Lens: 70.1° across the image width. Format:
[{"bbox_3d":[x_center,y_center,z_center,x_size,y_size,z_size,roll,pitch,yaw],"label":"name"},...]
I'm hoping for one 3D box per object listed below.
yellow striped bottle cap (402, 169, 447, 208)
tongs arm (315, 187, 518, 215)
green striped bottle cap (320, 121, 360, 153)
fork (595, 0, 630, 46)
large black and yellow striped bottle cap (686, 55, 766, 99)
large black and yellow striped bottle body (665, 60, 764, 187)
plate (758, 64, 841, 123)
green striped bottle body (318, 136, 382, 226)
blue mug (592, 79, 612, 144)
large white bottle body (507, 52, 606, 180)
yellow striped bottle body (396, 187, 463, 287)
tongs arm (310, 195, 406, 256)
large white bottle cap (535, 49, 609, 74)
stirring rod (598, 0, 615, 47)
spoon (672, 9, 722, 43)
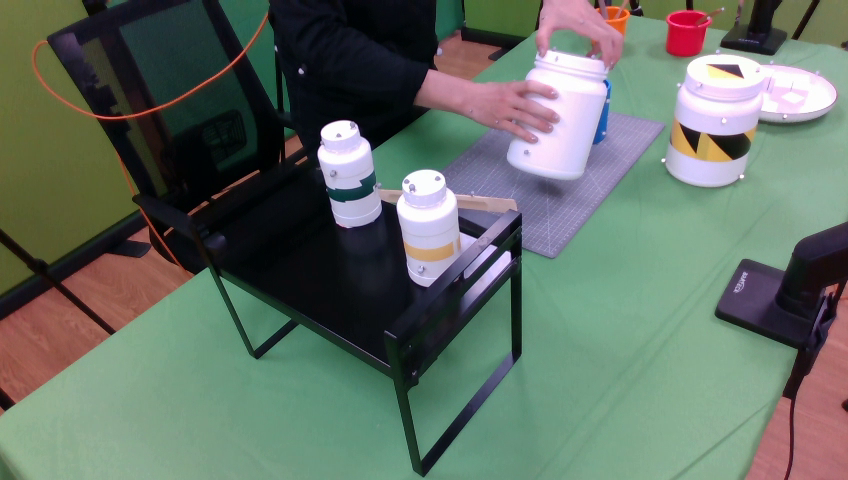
[{"bbox_3d":[0.000,-0.052,0.604,0.044,0.019,0.044,-5,43,5],"label":"yellow striped bottle cap"},{"bbox_3d":[-0.028,-0.060,0.988,0.382,0.027,0.051,10,45,36],"label":"tongs arm"},{"bbox_3d":[-0.097,-0.120,0.699,0.044,0.020,0.044,-4,40,3],"label":"green striped bottle cap"},{"bbox_3d":[0.479,-0.556,1.452,0.028,0.019,0.207,41,103,40],"label":"fork"},{"bbox_3d":[0.474,-0.258,0.952,0.115,0.019,0.114,-5,41,5],"label":"large black and yellow striped bottle cap"},{"bbox_3d":[0.482,-0.196,1.008,0.131,0.185,0.130,-4,41,4],"label":"large black and yellow striped bottle body"},{"bbox_3d":[0.695,-0.283,1.189,0.207,0.039,0.206,-4,40,4],"label":"plate"},{"bbox_3d":[-0.090,-0.080,0.733,0.063,0.120,0.063,-4,41,4],"label":"green striped bottle body"},{"bbox_3d":[0.298,-0.239,1.143,0.081,0.106,0.117,30,53,36],"label":"blue mug"},{"bbox_3d":[0.218,-0.203,0.982,0.131,0.185,0.130,10,22,-3],"label":"large white bottle body"},{"bbox_3d":[0.006,-0.013,0.638,0.063,0.121,0.062,-5,41,5],"label":"yellow striped bottle body"},{"bbox_3d":[-0.078,-0.013,0.944,0.028,0.028,0.384,-42,39,-23],"label":"tongs arm"},{"bbox_3d":[0.233,-0.281,0.953,0.115,0.018,0.114,10,21,-3],"label":"large white bottle cap"},{"bbox_3d":[0.437,-0.551,1.462,0.014,0.006,0.175,-11,83,1],"label":"stirring rod"},{"bbox_3d":[0.606,-0.476,1.345,0.042,0.021,0.193,-6,-3,-2],"label":"spoon"}]
